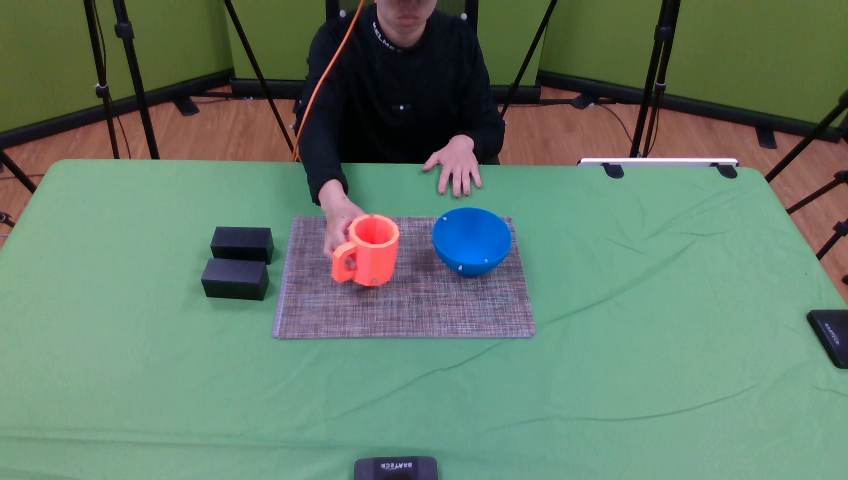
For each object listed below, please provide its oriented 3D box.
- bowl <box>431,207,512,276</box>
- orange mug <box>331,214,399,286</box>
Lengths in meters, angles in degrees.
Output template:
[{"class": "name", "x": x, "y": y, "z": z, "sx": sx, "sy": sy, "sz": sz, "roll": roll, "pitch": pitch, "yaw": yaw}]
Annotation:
[{"class": "bowl", "x": 0.086, "y": 0.016, "z": 1.147, "sx": 0.151, "sy": 0.077, "sz": 0.150, "roll": 2, "pitch": 46, "yaw": -2}, {"class": "orange mug", "x": -0.105, "y": 0.023, "z": 1.049, "sx": 0.126, "sy": 0.101, "sz": 0.083, "roll": -23, "pitch": 53, "yaw": -38}]
